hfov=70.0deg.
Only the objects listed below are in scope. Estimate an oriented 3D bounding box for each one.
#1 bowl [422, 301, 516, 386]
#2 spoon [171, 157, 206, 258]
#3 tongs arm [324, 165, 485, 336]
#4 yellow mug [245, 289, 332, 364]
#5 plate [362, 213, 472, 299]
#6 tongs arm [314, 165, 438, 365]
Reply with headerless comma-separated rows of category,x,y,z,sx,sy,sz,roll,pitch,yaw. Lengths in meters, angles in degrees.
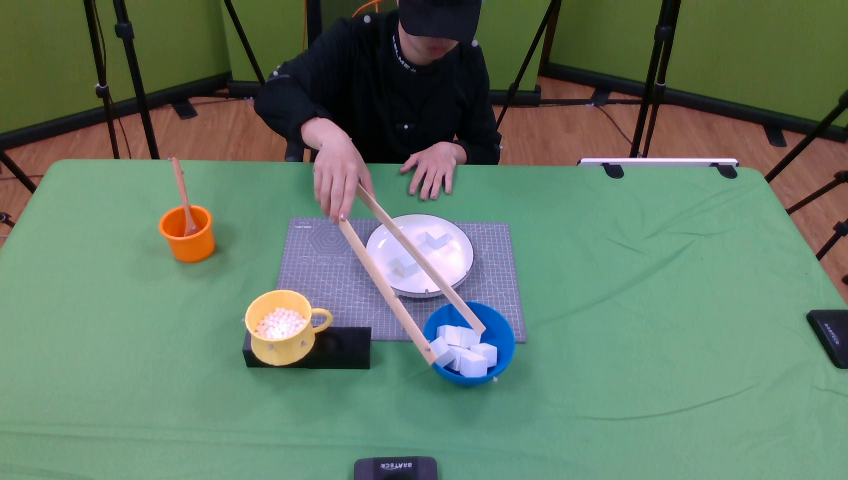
bowl,0.069,0.182,0.989,0.151,0.077,0.150,3,46,-3
spoon,-0.444,-0.061,1.133,0.042,0.193,0.021,-12,4,-20
tongs arm,-0.035,0.012,1.018,0.386,0.028,0.028,47,50,12
yellow mug,-0.210,0.133,0.954,0.131,0.064,0.099,-9,48,-14
plate,-0.013,0.034,1.149,0.208,0.039,0.206,3,46,-2
tongs arm,-0.079,0.030,0.976,0.051,0.026,0.383,-22,67,-39
